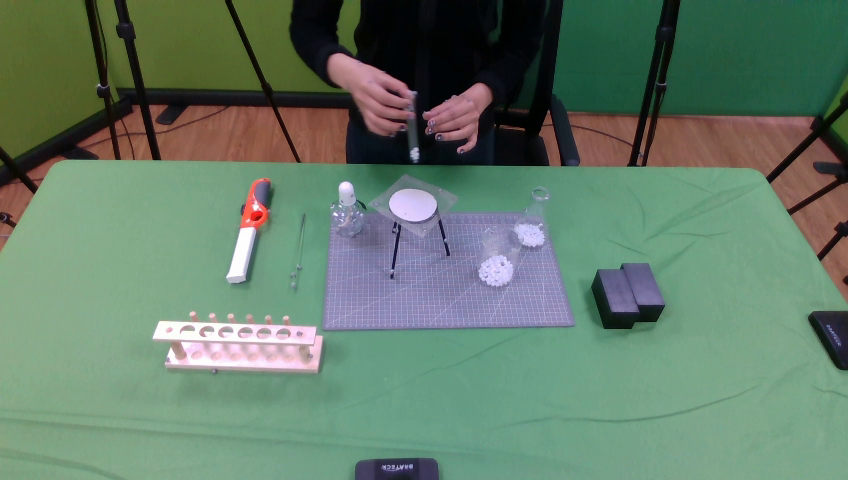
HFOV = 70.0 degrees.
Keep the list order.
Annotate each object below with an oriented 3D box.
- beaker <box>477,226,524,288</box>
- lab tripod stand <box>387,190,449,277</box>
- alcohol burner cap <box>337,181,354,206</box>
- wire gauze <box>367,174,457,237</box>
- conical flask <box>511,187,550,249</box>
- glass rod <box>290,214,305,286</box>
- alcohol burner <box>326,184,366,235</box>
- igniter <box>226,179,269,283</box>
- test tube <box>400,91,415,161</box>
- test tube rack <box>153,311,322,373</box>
[{"bbox_3d":[0.139,0.033,1.122,0.084,0.101,0.073,-12,48,-16],"label":"beaker"},{"bbox_3d":[-0.021,-0.018,1.135,0.148,0.132,0.147,3,44,-3],"label":"lab tripod stand"},{"bbox_3d":[-0.151,-0.090,1.157,0.034,0.048,0.033,0,52,0],"label":"alcohol burner cap"},{"bbox_3d":[-0.021,-0.067,1.088,0.124,0.011,0.121,28,49,21],"label":"wire gauze"},{"bbox_3d":[0.217,-0.048,1.190,0.075,0.122,0.075,2,46,-2],"label":"conical flask"},{"bbox_3d":[-0.245,0.015,1.176,0.008,0.008,0.198,1,43,-3],"label":"glass rod"},{"bbox_3d":[-0.152,-0.066,1.184,0.078,0.119,0.077,4,46,-4],"label":"alcohol burner"},{"bbox_3d":[-0.345,-0.027,1.195,0.057,0.025,0.274,-6,46,5],"label":"igniter"},{"bbox_3d":[-0.028,-0.195,1.056,0.017,0.151,0.017,-2,51,2],"label":"test tube"},{"bbox_3d":[-0.293,0.160,0.978,0.242,0.085,0.066,3,46,-2],"label":"test tube rack"}]
